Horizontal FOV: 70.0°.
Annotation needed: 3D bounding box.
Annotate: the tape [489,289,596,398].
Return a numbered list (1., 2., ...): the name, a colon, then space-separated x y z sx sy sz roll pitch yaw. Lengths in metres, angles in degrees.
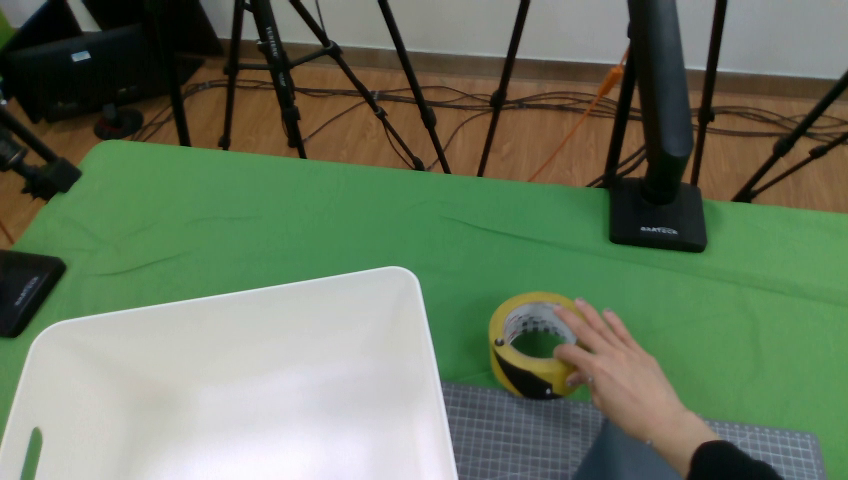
1. tape: 0.126 0.111 0.659 0.117 0.053 0.115 -3 43 3

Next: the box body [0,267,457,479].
1. box body: -0.160 0.195 0.561 0.364 0.162 0.251 -9 50 -4

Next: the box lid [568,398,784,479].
1. box lid: 0.285 0.326 0.524 0.368 0.015 0.262 29 58 24
